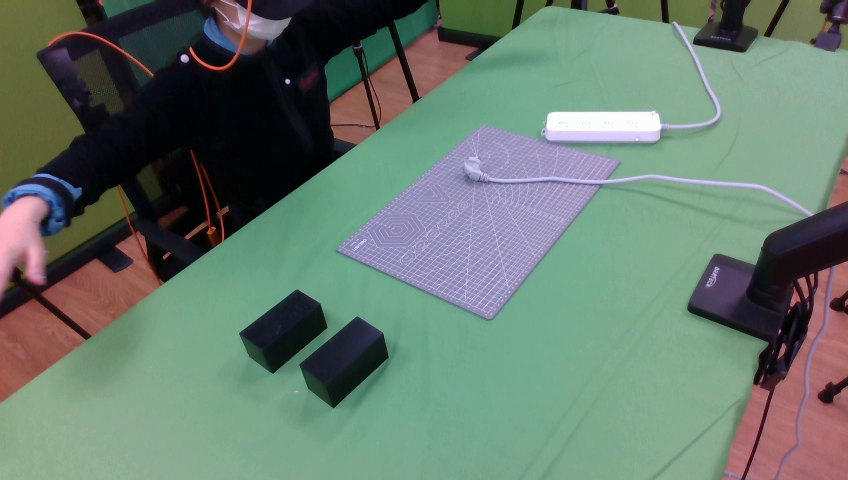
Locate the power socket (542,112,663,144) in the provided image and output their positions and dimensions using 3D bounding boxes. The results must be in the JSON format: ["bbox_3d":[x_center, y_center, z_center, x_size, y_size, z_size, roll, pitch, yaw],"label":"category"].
[{"bbox_3d":[0.342,-0.216,1.164,0.226,0.033,0.072,3,43,12],"label":"power socket"}]

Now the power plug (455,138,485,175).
[{"bbox_3d":[0.080,-0.151,1.087,0.052,0.073,0.035,-15,16,46],"label":"power plug"}]
